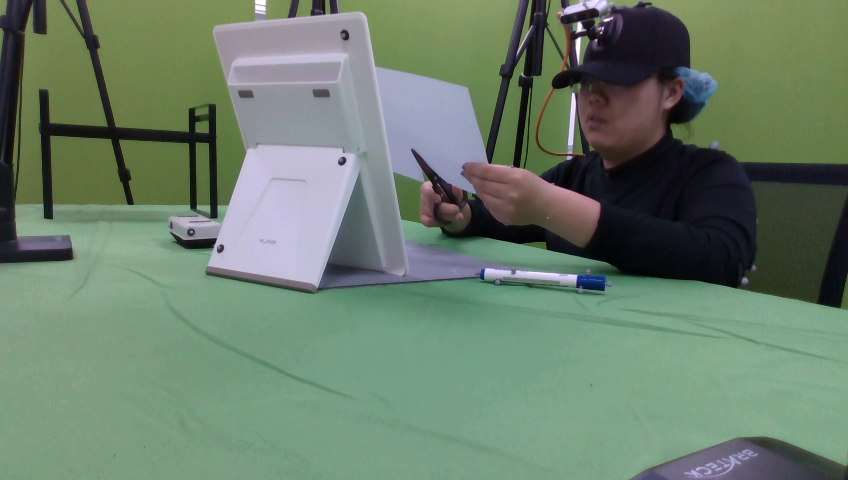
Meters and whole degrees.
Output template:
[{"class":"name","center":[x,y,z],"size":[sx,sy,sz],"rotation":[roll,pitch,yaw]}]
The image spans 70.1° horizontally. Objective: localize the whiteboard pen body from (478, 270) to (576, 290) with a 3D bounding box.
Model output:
[{"class":"whiteboard pen body","center":[0.131,0.048,0.706],"size":[0.140,0.017,0.017],"rotation":[4,7,18]}]

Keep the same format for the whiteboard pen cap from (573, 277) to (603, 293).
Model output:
[{"class":"whiteboard pen cap","center":[0.186,0.051,0.687],"size":[0.033,0.018,0.018],"rotation":[5,8,17]}]

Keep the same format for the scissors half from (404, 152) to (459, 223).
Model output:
[{"class":"scissors half","center":[0.011,-0.082,0.971],"size":[0.013,0.040,0.176],"rotation":[23,-22,43]}]

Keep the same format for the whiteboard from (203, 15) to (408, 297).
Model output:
[{"class":"whiteboard","center":[-0.166,-0.072,0.668],"size":[0.216,0.305,0.144],"rotation":[8,30,30]}]

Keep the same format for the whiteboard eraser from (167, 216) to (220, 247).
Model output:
[{"class":"whiteboard eraser","center":[-0.350,-0.013,0.920],"size":[0.056,0.042,0.112],"rotation":[0,7,-35]}]

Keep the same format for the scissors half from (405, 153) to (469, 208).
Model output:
[{"class":"scissors half","center":[0.022,-0.098,0.973],"size":[0.012,0.040,0.176],"rotation":[30,1,43]}]
